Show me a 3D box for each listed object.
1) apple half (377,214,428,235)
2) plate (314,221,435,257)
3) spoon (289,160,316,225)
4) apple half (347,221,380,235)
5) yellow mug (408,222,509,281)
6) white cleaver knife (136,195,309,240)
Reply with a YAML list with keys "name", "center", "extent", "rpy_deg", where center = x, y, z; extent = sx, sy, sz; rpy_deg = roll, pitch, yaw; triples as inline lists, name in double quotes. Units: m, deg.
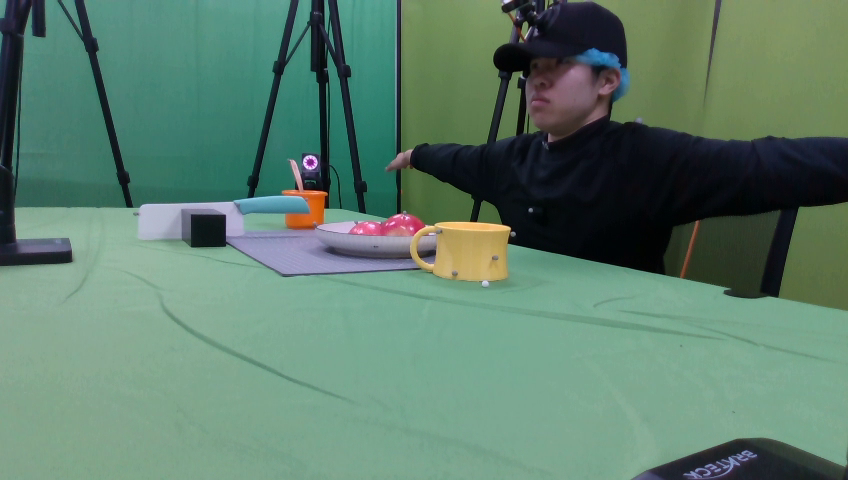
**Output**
- name: "apple half"
  center: [-0.034, -0.013, 0.924]
  extent: [0.080, 0.053, 0.075]
  rpy_deg: [5, 10, 16]
- name: "plate"
  center: [-0.067, -0.002, 0.948]
  extent: [0.209, 0.038, 0.209]
  rpy_deg: [3, 7, 0]
- name: "spoon"
  center: [-0.260, -0.102, 1.268]
  extent: [0.042, 0.193, 0.021]
  rpy_deg: [1, -37, -27]
- name: "apple half"
  center: [-0.089, -0.014, 0.985]
  extent: [0.081, 0.033, 0.081]
  rpy_deg: [5, 5, 0]
- name: "yellow mug"
  center: [0.044, 0.012, 0.784]
  extent: [0.131, 0.064, 0.100]
  rpy_deg: [2, 7, 4]
- name: "white cleaver knife"
  center: [-0.337, -0.039, 1.037]
  extent: [0.288, 0.066, 0.021]
  rpy_deg: [-6, 15, -29]
